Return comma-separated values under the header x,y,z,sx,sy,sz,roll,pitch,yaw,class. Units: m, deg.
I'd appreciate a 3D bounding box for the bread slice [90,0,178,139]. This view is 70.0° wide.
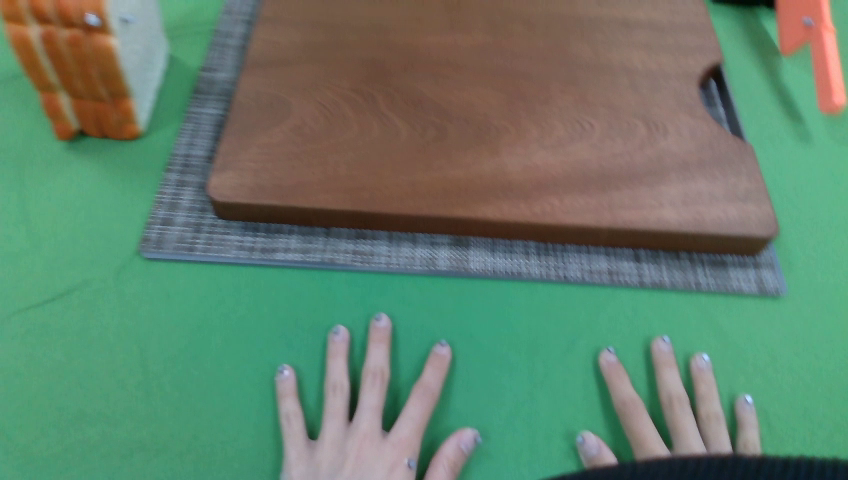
x,y,z,sx,sy,sz,roll,pitch,yaw,class
-0.212,-0.155,0.452,0.019,0.132,0.104,6,57,-7,bread slice

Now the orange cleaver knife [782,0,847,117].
x,y,z,sx,sy,sz,roll,pitch,yaw,class
0.345,-0.198,0.539,0.012,0.077,0.210,6,75,-3,orange cleaver knife

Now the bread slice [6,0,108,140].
x,y,z,sx,sy,sz,roll,pitch,yaw,class
-0.265,-0.160,0.448,0.018,0.135,0.106,2,51,-8,bread slice
